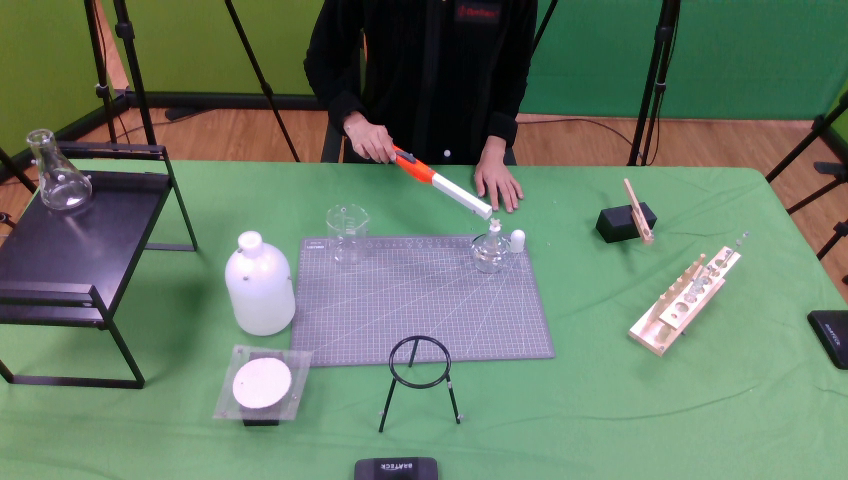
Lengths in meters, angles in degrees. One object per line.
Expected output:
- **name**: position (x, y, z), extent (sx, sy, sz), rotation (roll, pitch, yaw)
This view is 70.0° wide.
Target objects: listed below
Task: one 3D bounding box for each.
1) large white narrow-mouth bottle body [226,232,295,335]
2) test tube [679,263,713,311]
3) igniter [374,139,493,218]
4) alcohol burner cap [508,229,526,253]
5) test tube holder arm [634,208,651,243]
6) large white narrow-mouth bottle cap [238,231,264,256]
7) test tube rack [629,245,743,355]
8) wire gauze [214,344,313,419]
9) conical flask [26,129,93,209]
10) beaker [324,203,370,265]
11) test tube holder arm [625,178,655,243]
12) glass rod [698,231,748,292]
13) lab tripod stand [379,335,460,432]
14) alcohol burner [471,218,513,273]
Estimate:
- **large white narrow-mouth bottle body**: position (-0.270, 0.065, 0.995), extent (0.102, 0.195, 0.101), rotation (2, 46, -2)
- **test tube**: position (0.452, 0.092, 1.023), extent (0.017, 0.151, 0.017), rotation (1, 49, -1)
- **igniter**: position (0.012, -0.120, 1.137), extent (0.275, 0.057, 0.025), rotation (33, 69, 21)
- **alcohol burner cap**: position (0.185, -0.002, 1.192), extent (0.034, 0.048, 0.033), rotation (3, 44, -3)
- **test tube holder arm**: position (0.428, -0.030, 1.189), extent (0.010, 0.015, 0.087), rotation (1, 47, -2)
- **large white narrow-mouth bottle cap**: position (-0.266, 0.006, 0.932), extent (0.038, 0.024, 0.037), rotation (2, 46, -2)
- **test tube rack**: position (0.474, 0.095, 1.091), extent (0.242, 0.085, 0.066), rotation (-34, 56, -31)
- **wire gauze**: position (-0.241, 0.213, 0.915), extent (0.121, 0.011, 0.124), rotation (5, 46, 1)
- **conical flask**: position (-0.575, -0.113, 0.946), extent (0.075, 0.122, 0.075), rotation (2, 46, -2)
- **beaker**: position (-0.142, -0.009, 1.137), extent (0.084, 0.101, 0.073), rotation (-3, 47, -7)
- **test tube holder arm**: position (0.433, -0.063, 1.220), extent (0.013, 0.015, 0.177), rotation (1, 47, -3)
- **glass rod**: position (0.514, 0.044, 1.051), extent (0.008, 0.200, 0.008), rotation (1, 55, -1)
- **lab tripod stand**: position (-0.011, 0.214, 0.911), extent (0.148, 0.132, 0.147), rotation (1, 45, 0)
- **alcohol burner**: position (0.128, 0.005, 1.132), extent (0.078, 0.120, 0.077), rotation (0, 47, 0)
